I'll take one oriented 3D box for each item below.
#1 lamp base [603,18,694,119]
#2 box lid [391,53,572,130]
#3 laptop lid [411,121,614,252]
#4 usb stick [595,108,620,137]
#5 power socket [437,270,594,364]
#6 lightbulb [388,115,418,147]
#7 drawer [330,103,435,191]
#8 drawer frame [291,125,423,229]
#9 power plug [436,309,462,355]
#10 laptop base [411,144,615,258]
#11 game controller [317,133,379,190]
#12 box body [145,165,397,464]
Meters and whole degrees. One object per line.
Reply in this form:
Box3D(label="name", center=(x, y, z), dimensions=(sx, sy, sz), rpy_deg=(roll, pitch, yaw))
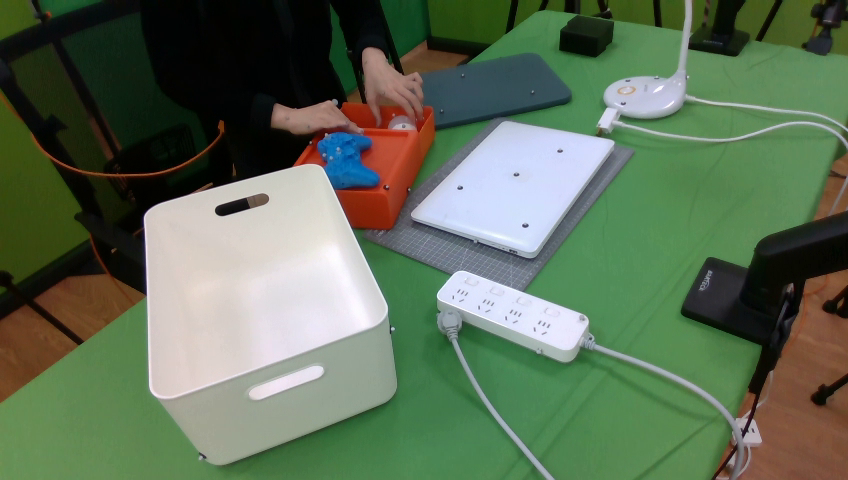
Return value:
Box3D(label="lamp base", center=(0.460, -0.355, 1.205), dimensions=(0.179, 0.181, 0.160), rpy_deg=(2, 41, 7))
Box3D(label="box lid", center=(0.122, -0.339, 1.366), dimensions=(0.372, 0.015, 0.261), rpy_deg=(-12, 40, -5))
Box3D(label="laptop lid", center=(0.164, -0.112, 1.068), dimensions=(0.240, 0.013, 0.357), rpy_deg=(19, 46, 30))
Box3D(label="usb stick", center=(0.355, -0.225, 1.175), dimensions=(0.027, 0.022, 0.059), rpy_deg=(29, 85, 41))
Box3D(label="power socket", center=(0.118, 0.102, 0.830), dimensions=(0.225, 0.033, 0.072), rpy_deg=(20, 48, 28))
Box3D(label="lightbulb", center=(-0.038, -0.199, 1.188), dimensions=(0.059, 0.060, 0.107), rpy_deg=(-10, 55, -4))
Box3D(label="drawer", center=(-0.098, -0.182, 1.161), dimensions=(0.194, 0.073, 0.211), rpy_deg=(6, 41, 14))
Box3D(label="drawer frame", center=(-0.124, -0.119, 1.085), dimensions=(0.201, 0.083, 0.213), rpy_deg=(5, 41, 13))
Box3D(label="power plug", center=(0.032, 0.126, 0.809), dimensions=(0.035, 0.053, 0.072), rpy_deg=(3, 59, 7))
Box3D(label="laptop base", center=(0.167, -0.102, 1.074), dimensions=(0.234, 0.023, 0.355), rpy_deg=(17, 45, 30))
Box3D(label="game controller", center=(-0.133, -0.140, 1.031), dimensions=(0.097, 0.052, 0.154), rpy_deg=(-13, 38, -1))
Box3D(label="box body", center=(-0.205, 0.080, 0.802), dimensions=(0.255, 0.161, 0.361), rpy_deg=(-18, 41, -13))
